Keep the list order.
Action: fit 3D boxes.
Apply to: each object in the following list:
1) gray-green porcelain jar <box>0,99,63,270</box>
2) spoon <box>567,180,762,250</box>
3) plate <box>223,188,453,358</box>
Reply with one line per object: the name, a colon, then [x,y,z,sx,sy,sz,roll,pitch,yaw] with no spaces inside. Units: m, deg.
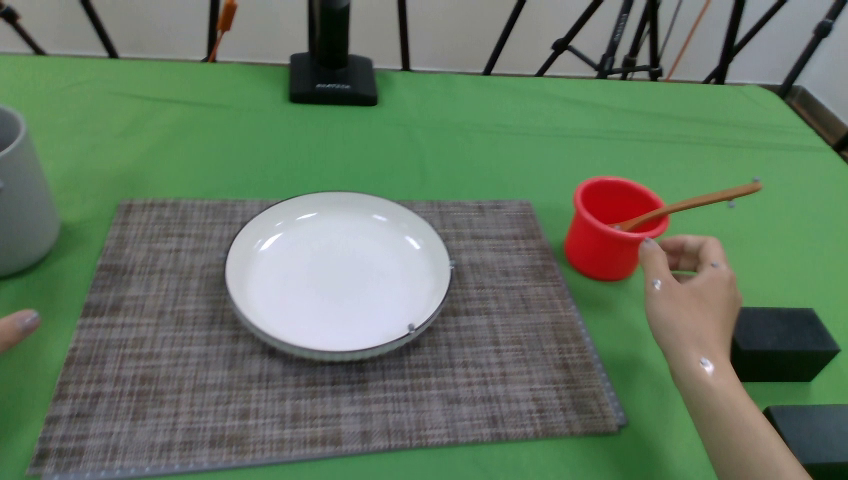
gray-green porcelain jar: [-0.387,-0.044,0.529,0.106,0.127,0.105,6,43,-5]
spoon: [0.238,-0.026,0.616,0.193,0.022,0.041,-22,30,33]
plate: [-0.079,0.030,0.570,0.208,0.039,0.205,6,43,-5]
